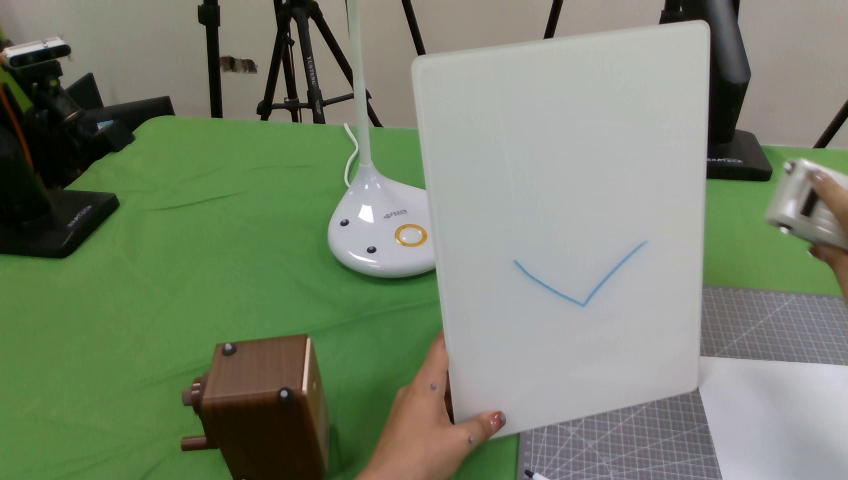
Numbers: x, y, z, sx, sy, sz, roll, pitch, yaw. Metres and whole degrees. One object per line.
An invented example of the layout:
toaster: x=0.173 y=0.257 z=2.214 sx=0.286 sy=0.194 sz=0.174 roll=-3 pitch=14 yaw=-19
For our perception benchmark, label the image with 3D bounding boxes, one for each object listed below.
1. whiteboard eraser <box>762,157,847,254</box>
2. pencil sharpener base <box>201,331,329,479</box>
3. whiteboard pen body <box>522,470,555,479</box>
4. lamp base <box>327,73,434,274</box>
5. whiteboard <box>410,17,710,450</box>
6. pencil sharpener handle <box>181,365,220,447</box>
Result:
whiteboard eraser: x=0.333 y=-0.020 z=0.479 sx=0.112 sy=0.055 sz=0.042 roll=23 pitch=6 yaw=7
pencil sharpener base: x=-0.118 y=0.128 z=0.459 sx=0.077 sy=0.108 sz=0.060 roll=-5 pitch=38 yaw=-3
whiteboard pen body: x=0.130 y=0.198 z=0.425 sx=0.139 sy=0.017 sz=0.017 roll=22 pitch=44 yaw=32
lamp base: x=-0.044 y=-0.081 z=0.667 sx=0.161 sy=0.182 sz=0.177 roll=-27 pitch=42 yaw=-28
whiteboard: x=0.101 y=-0.014 z=0.517 sx=0.217 sy=0.307 sz=0.142 roll=-10 pitch=19 yaw=-8
pencil sharpener handle: x=-0.169 y=0.125 z=0.446 sx=0.031 sy=0.068 sz=0.035 roll=-5 pitch=25 yaw=-3
